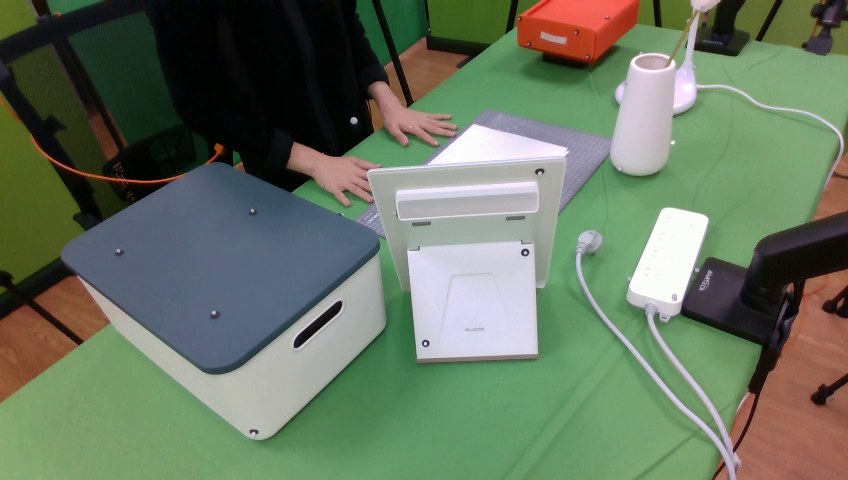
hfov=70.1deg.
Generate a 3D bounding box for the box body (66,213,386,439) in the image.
[{"bbox_3d":[-0.257,0.068,0.824,0.361,0.161,0.255,24,49,31],"label":"box body"}]

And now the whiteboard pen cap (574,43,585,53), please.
[{"bbox_3d":[0.347,-0.429,1.350,0.018,0.018,0.033,17,40,25],"label":"whiteboard pen cap"}]

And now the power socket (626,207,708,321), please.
[{"bbox_3d":[0.359,0.025,0.886,0.072,0.033,0.227,16,46,26],"label":"power socket"}]

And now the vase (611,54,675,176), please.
[{"bbox_3d":[0.377,-0.209,1.031,0.098,0.201,0.097,-3,40,3],"label":"vase"}]

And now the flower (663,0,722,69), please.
[{"bbox_3d":[0.379,-0.261,0.965,0.044,0.362,0.038,20,53,5],"label":"flower"}]

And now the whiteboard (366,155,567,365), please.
[{"bbox_3d":[0.059,0.050,0.738,0.217,0.307,0.143,-3,60,5],"label":"whiteboard"}]

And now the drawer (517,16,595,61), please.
[{"bbox_3d":[0.352,-0.505,1.404,0.193,0.073,0.212,25,50,33],"label":"drawer"}]

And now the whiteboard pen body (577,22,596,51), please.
[{"bbox_3d":[0.372,-0.468,1.390,0.017,0.017,0.141,14,47,23],"label":"whiteboard pen body"}]

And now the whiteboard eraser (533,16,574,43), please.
[{"bbox_3d":[0.305,-0.493,1.422,0.055,0.042,0.113,27,43,25],"label":"whiteboard eraser"}]

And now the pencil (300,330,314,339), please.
[{"bbox_3d":[-0.204,0.121,0.878,0.192,0.012,0.012,17,45,38],"label":"pencil"}]

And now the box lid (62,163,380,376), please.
[{"bbox_3d":[-0.263,0.012,0.774,0.368,0.015,0.264,23,49,32],"label":"box lid"}]

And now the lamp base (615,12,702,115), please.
[{"bbox_3d":[0.484,-0.364,1.211,0.180,0.181,0.159,-15,41,-14],"label":"lamp base"}]

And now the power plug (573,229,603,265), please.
[{"bbox_3d":[0.241,0.014,0.914,0.072,0.053,0.035,-45,54,-10],"label":"power plug"}]

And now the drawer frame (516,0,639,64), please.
[{"bbox_3d":[0.356,-0.507,1.410,0.200,0.083,0.214,25,51,32],"label":"drawer frame"}]
